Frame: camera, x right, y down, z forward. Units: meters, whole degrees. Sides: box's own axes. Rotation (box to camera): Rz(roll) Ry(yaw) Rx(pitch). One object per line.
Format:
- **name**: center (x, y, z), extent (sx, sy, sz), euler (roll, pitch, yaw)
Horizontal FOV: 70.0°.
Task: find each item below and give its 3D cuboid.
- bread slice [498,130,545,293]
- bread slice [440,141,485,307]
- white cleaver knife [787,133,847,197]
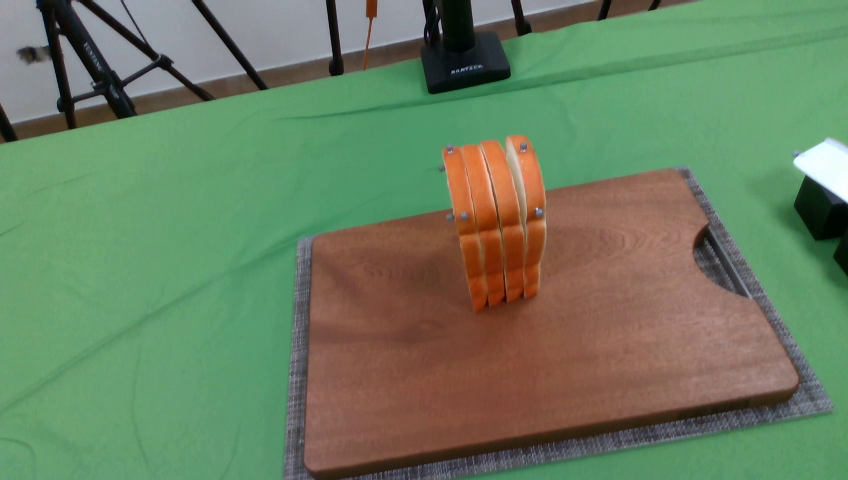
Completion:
- **bread slice**: center (0.087, -0.031, 0.548), extent (0.019, 0.133, 0.103), euler (-8, 48, -3)
- **bread slice**: center (0.034, -0.022, 0.550), extent (0.018, 0.136, 0.106), euler (-12, 45, 2)
- **white cleaver knife**: center (0.432, -0.009, 0.510), extent (0.066, 0.022, 0.283), euler (-23, 50, -8)
